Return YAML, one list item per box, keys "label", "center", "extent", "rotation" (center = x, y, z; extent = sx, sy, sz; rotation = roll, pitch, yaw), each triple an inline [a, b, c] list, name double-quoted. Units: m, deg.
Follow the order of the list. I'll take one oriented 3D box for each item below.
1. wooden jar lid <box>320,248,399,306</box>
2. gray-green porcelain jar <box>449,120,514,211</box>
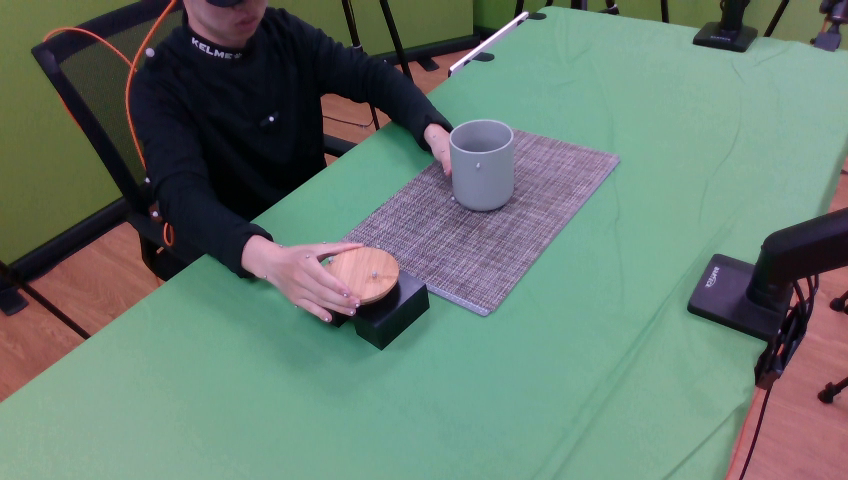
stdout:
- label: "wooden jar lid"
  center: [-0.088, 0.052, 0.835]
  extent: [0.108, 0.021, 0.108]
  rotation: [-2, 39, 2]
- label: "gray-green porcelain jar"
  center: [0.097, -0.120, 1.008]
  extent: [0.106, 0.127, 0.105]
  rotation: [-4, 40, 4]
